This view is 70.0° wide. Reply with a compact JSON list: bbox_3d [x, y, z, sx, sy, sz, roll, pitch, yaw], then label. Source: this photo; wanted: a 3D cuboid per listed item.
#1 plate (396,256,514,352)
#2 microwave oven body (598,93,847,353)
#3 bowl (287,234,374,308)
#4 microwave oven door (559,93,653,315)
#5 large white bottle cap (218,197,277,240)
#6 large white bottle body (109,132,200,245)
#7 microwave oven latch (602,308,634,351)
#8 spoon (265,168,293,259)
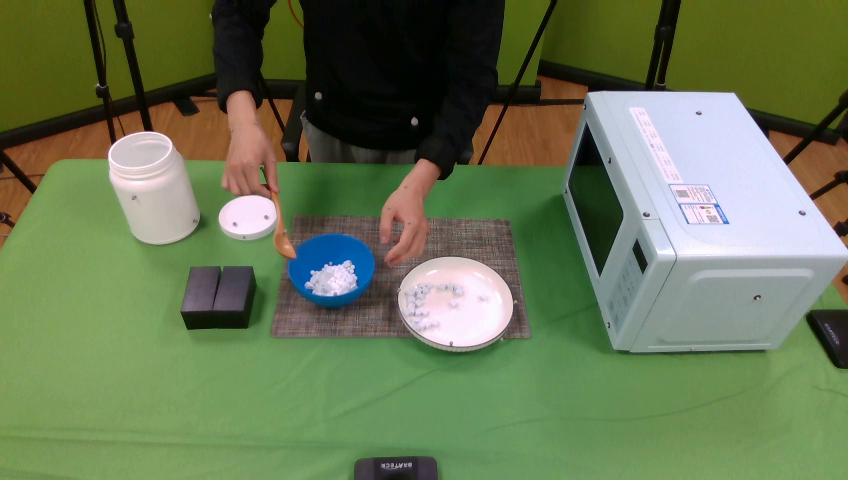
[{"bbox_3d":[0.053,0.116,1.077,0.209,0.038,0.208,2,46,-2],"label":"plate"},{"bbox_3d":[0.475,-0.041,1.109,0.326,0.261,0.438,-1,45,-4],"label":"microwave oven body"},{"bbox_3d":[-0.165,0.068,1.078,0.151,0.077,0.150,3,45,-3],"label":"bowl"},{"bbox_3d":[0.327,-0.074,1.123,0.039,0.245,0.353,-1,46,-5],"label":"microwave oven door"},{"bbox_3d":[-0.355,-0.045,1.220,0.115,0.018,0.114,2,45,-2],"label":"large white bottle cap"},{"bbox_3d":[-0.506,-0.097,1.141,0.131,0.185,0.130,2,46,-2],"label":"large white bottle body"},{"bbox_3d":[0.332,0.153,1.044,0.030,0.029,0.078,-1,45,-4],"label":"microwave oven latch"},{"bbox_3d":[-0.249,-0.048,1.032,0.021,0.042,0.192,-22,59,11],"label":"spoon"}]
